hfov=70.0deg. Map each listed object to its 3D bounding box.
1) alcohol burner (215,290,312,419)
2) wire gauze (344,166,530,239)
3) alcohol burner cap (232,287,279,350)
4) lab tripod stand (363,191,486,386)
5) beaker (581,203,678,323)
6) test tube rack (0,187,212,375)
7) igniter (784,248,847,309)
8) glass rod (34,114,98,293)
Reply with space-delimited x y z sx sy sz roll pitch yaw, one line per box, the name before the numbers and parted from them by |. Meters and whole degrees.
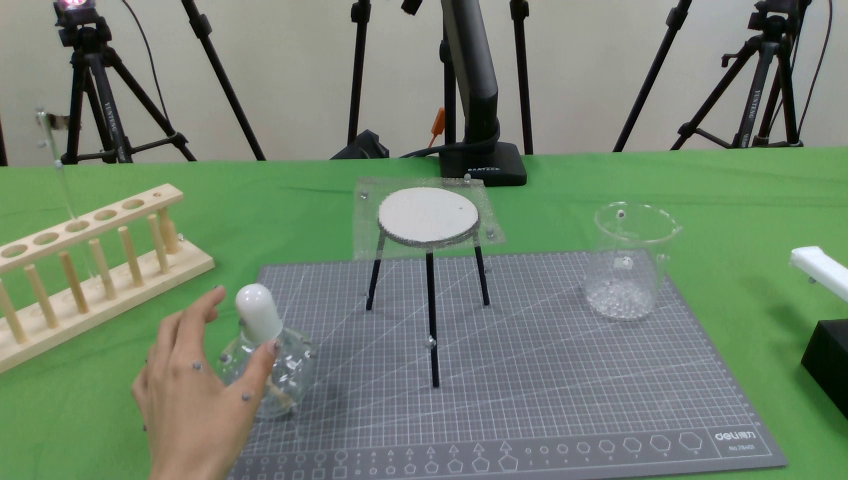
alcohol burner | -0.132 0.088 0.492 0.078 0.120 0.077 1 33 0
wire gauze | 0.007 -0.032 0.503 0.125 0.011 0.120 -8 30 -24
alcohol burner cap | -0.134 0.058 0.472 0.034 0.048 0.033 -1 37 1
lab tripod stand | 0.004 0.036 0.552 0.148 0.132 0.147 1 34 0
beaker | 0.198 0.025 0.596 0.084 0.101 0.073 2 34 3
test tube rack | -0.345 0.037 0.605 0.066 0.086 0.242 26 42 35
igniter | 0.402 0.082 0.492 0.057 0.025 0.273 -7 30 -9
glass rod | -0.340 -0.026 0.578 0.008 0.201 0.008 3 36 -2
